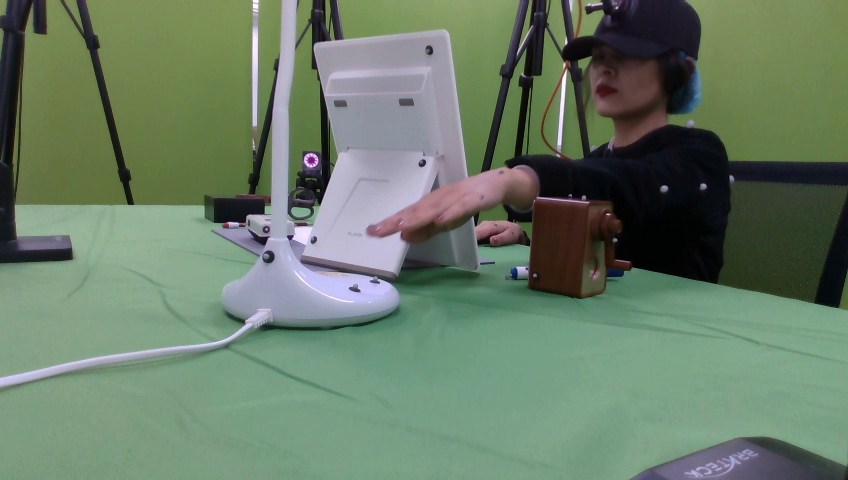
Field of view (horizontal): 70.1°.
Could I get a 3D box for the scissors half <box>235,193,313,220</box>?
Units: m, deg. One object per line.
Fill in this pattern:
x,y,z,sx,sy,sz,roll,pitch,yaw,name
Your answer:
-0.325,-0.077,1.319,0.176,0.040,0.012,17,6,-32,scissors half

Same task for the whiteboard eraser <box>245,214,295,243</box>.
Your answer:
-0.247,-0.018,0.965,0.056,0.042,0.112,0,8,-28,whiteboard eraser

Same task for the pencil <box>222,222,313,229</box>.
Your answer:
-0.302,-0.031,1.189,0.195,0.012,0.012,-3,9,-42,pencil

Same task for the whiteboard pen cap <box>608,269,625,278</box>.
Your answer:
0.237,0.039,0.767,0.033,0.018,0.018,-2,8,-7,whiteboard pen cap

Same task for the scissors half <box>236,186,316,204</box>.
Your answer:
-0.320,-0.097,1.316,0.176,0.040,0.013,-3,11,-29,scissors half

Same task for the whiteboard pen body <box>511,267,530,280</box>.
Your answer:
0.178,0.041,0.758,0.141,0.017,0.017,0,8,-8,whiteboard pen body

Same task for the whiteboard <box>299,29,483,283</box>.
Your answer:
-0.074,-0.082,0.742,0.216,0.305,0.144,9,29,37,whiteboard

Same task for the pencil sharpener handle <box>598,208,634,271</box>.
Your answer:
0.208,0.000,0.645,0.030,0.068,0.036,10,23,42,pencil sharpener handle

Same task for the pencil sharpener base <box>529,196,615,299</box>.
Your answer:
0.167,0.007,0.678,0.076,0.107,0.062,10,10,42,pencil sharpener base

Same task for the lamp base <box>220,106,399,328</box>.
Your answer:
-0.101,-0.023,0.531,0.160,0.180,0.179,4,10,10,lamp base
